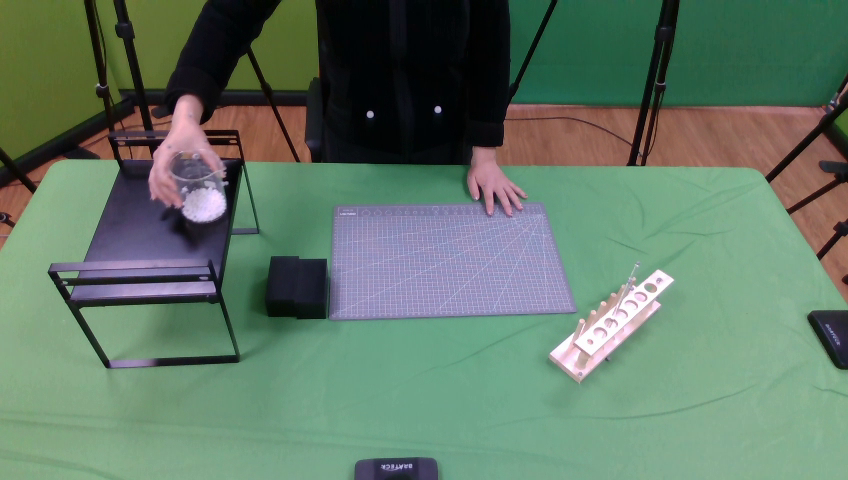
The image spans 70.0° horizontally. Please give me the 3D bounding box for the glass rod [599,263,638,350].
[{"bbox_3d":[0.311,0.112,0.976,0.008,0.200,0.008,4,40,-3],"label":"glass rod"}]

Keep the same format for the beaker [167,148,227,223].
[{"bbox_3d":[-0.346,-0.082,0.944,0.084,0.101,0.073,1,49,-8],"label":"beaker"}]

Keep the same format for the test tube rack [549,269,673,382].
[{"bbox_3d":[0.325,0.134,1.047,0.242,0.085,0.066,-32,56,-30],"label":"test tube rack"}]
